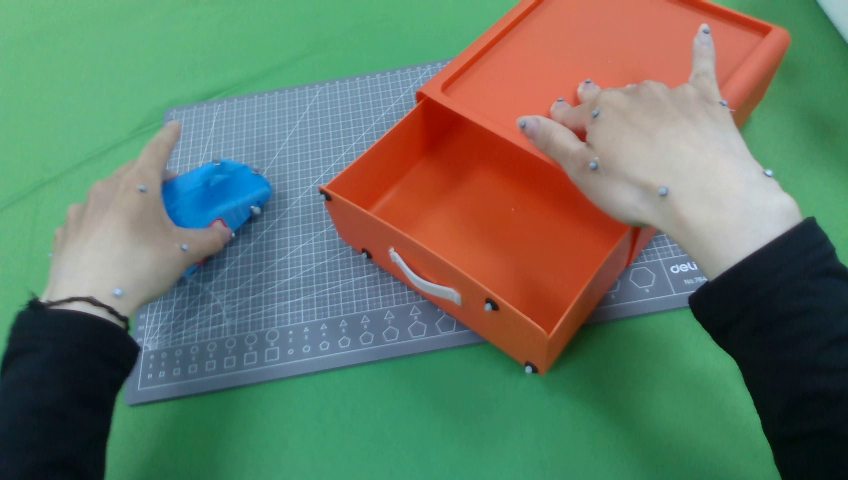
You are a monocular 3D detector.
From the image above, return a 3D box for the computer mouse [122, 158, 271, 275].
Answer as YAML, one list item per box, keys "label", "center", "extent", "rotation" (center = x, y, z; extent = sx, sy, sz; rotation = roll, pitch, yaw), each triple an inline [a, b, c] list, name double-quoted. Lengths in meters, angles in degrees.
- label: "computer mouse"
  center: [-0.181, -0.026, 0.485]
  extent: [0.062, 0.041, 0.117]
  rotation: [26, 56, 23]

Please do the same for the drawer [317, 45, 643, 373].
- label: "drawer"
  center: [0.065, -0.042, 0.449]
  extent: [0.193, 0.074, 0.211]
  rotation: [33, 66, 26]

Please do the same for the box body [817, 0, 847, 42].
- label: "box body"
  center: [0.486, -0.207, 0.456]
  extent: [0.254, 0.162, 0.360]
  rotation: [-9, 57, 2]

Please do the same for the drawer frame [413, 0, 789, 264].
- label: "drawer frame"
  center: [0.136, -0.115, 0.487]
  extent: [0.200, 0.083, 0.213]
  rotation: [34, 66, 25]
